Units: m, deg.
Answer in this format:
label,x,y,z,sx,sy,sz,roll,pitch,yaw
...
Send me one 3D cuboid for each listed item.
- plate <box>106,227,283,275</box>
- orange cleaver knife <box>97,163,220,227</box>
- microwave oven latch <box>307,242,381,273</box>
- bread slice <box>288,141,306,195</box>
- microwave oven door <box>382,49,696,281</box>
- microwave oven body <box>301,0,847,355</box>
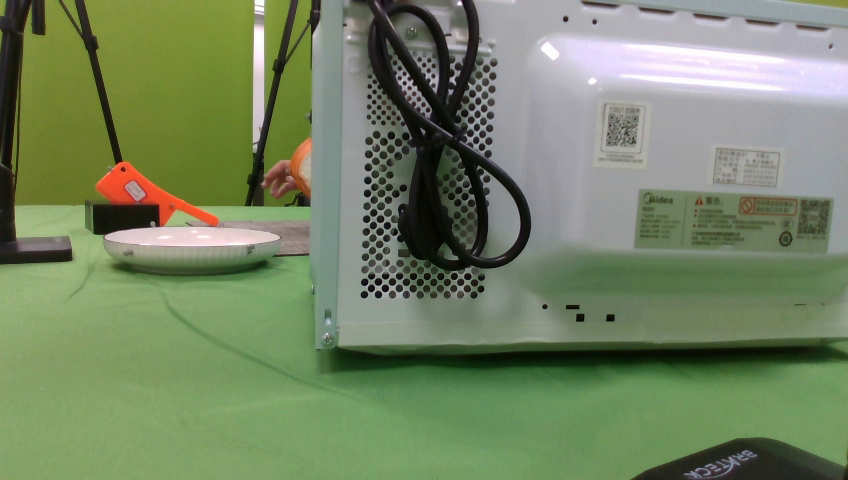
label,x,y,z,sx,sy,sz,roll,pitch,yaw
plate,-0.288,0.013,0.772,0.208,0.039,0.207,2,7,0
orange cleaver knife,-0.472,-0.062,1.087,0.212,0.077,0.012,33,-14,-36
microwave oven latch,-0.086,0.019,0.656,0.079,0.029,0.030,2,7,-10
bread slice,-0.157,-0.108,1.005,0.107,0.135,0.018,-46,30,-15
microwave oven door,0.135,-0.077,0.685,0.357,0.243,0.039,1,8,-12
microwave oven body,0.120,-0.053,0.535,0.443,0.260,0.325,2,7,-11
